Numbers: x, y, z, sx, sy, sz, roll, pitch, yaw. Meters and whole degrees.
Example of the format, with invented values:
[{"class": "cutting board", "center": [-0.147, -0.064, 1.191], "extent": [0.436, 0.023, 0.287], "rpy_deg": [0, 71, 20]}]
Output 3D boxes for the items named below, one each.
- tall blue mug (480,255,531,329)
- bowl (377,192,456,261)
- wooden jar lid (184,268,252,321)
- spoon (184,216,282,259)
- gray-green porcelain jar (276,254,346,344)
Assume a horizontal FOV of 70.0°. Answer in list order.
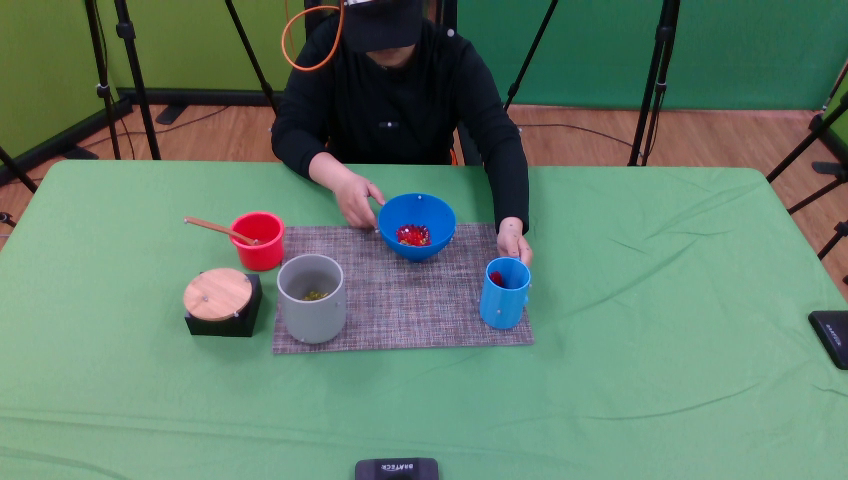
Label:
[{"class": "tall blue mug", "center": [0.139, 0.082, 1.063], "extent": [0.078, 0.108, 0.106], "rpy_deg": [-3, 46, -5]}, {"class": "bowl", "center": [-0.015, -0.013, 1.166], "extent": [0.151, 0.077, 0.150], "rpy_deg": [2, 46, -2]}, {"class": "wooden jar lid", "center": [-0.343, 0.093, 1.015], "extent": [0.108, 0.021, 0.107], "rpy_deg": [3, 46, -3]}, {"class": "spoon", "center": [-0.341, -0.008, 1.096], "extent": [0.021, 0.195, 0.041], "rpy_deg": [-36, 47, 25]}, {"class": "gray-green porcelain jar", "center": [-0.184, 0.102, 1.008], "extent": [0.106, 0.127, 0.105], "rpy_deg": [2, 46, -2]}]
